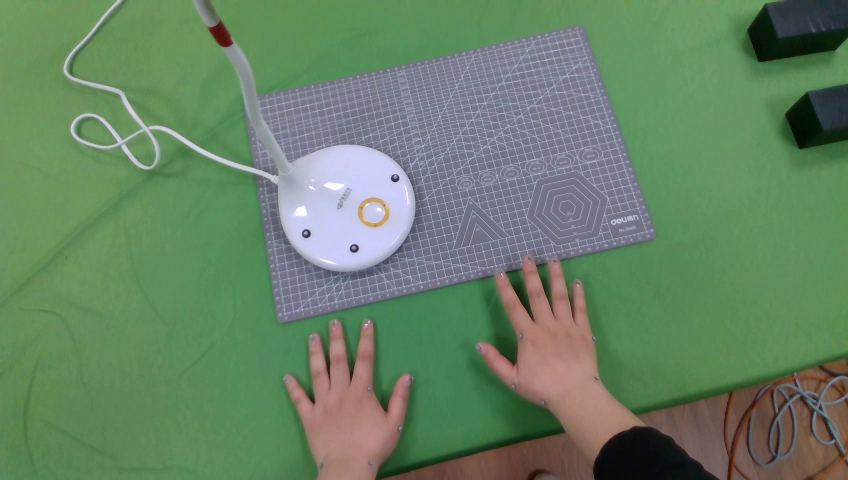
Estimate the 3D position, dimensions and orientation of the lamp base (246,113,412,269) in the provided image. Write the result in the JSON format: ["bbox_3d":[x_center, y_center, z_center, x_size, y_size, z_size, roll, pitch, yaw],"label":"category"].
[{"bbox_3d":[-0.110,-0.068,0.646,0.179,0.181,0.160,13,74,10],"label":"lamp base"}]
